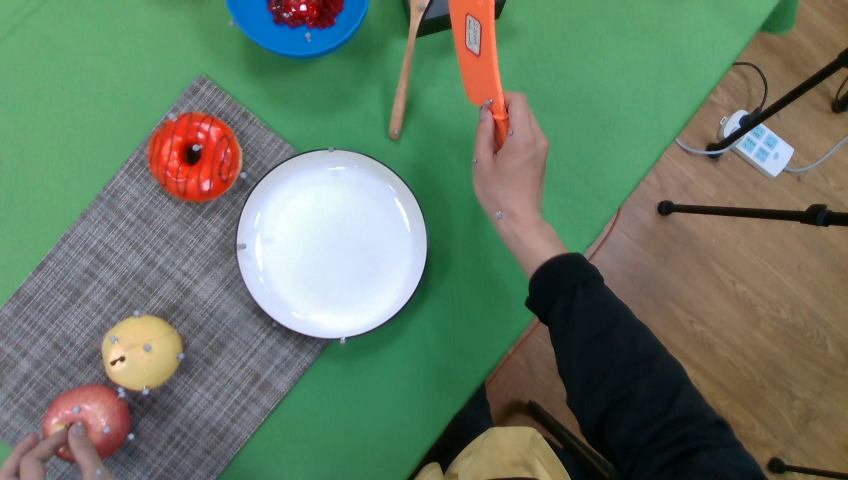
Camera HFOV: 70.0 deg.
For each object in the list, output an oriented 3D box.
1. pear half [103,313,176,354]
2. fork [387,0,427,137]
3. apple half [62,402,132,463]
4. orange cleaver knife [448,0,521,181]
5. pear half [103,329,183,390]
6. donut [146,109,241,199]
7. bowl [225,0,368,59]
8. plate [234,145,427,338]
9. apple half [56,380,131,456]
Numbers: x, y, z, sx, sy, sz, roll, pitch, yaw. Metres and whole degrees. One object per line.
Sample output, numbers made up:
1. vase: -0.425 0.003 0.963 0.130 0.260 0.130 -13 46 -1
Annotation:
1. pear half: -0.301 0.094 0.630 0.070 0.088 0.031 -22 90 1
2. fork: -0.017 -0.212 0.655 0.028 0.018 0.208 9 109 -10
3. apple half: -0.330 0.206 0.634 0.033 0.081 0.081 43 87 2
4. orange cleaver knife: 0.058 -0.158 0.599 0.012 0.076 0.213 -30 124 -19
5. pear half: -0.290 0.127 0.620 0.076 0.110 0.056 -21 89 0
6. donut: -0.250 -0.092 0.658 0.099 0.048 0.099 0 92 -2
7. bowl: -0.132 -0.262 0.654 0.151 0.077 0.151 0 90 -4
8. plate: -0.100 0.002 0.669 0.209 0.038 0.209 0 89 -4
9. apple half: -0.350 0.183 0.635 0.053 0.074 0.081 12 94 -1
